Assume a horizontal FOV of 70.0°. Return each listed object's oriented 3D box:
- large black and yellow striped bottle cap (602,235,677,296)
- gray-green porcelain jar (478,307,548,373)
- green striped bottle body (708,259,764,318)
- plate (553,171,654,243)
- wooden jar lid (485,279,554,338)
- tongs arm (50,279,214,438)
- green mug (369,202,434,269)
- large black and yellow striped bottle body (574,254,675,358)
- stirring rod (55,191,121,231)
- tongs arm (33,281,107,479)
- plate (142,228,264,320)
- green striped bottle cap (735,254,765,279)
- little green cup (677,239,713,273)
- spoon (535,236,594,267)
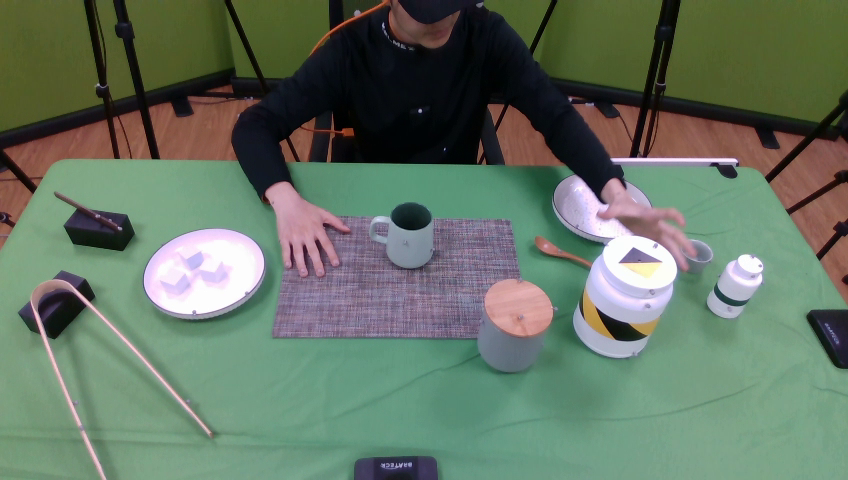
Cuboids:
[{"bbox_3d":[0.340,0.037,0.955,0.115,0.019,0.114,2,47,-1],"label":"large black and yellow striped bottle cap"},{"bbox_3d":[0.144,0.148,0.989,0.106,0.127,0.105,2,50,-2],"label":"gray-green porcelain jar"},{"bbox_3d":[0.563,0.081,1.089,0.063,0.120,0.063,2,46,-2],"label":"green striped bottle body"},{"bbox_3d":[0.374,-0.066,1.274,0.209,0.038,0.208,2,46,-2],"label":"plate"},{"bbox_3d":[0.147,0.108,0.940,0.108,0.021,0.107,4,48,-4],"label":"wooden jar lid"},{"bbox_3d":[-0.459,0.178,0.949,0.386,0.028,0.028,37,60,17],"label":"tongs arm"},{"bbox_3d":[-0.043,-0.010,1.140,0.125,0.105,0.092,8,47,4],"label":"green mug"},{"bbox_3d":[0.335,0.096,1.014,0.131,0.185,0.130,2,46,-2],"label":"large black and yellow striped bottle body"},{"bbox_3d":[-0.632,-0.055,1.138,0.175,0.014,0.006,24,50,19],"label":"stirring rod"},{"bbox_3d":[-0.517,0.214,0.910,0.051,0.026,0.383,-28,63,-27],"label":"tongs arm"},{"bbox_3d":[-0.395,0.064,1.095,0.208,0.039,0.206,2,46,-2],"label":"plate"},{"bbox_3d":[0.566,0.046,1.051,0.044,0.020,0.044,0,45,0],"label":"green striped bottle cap"},{"bbox_3d":[0.530,0.033,1.189,0.061,0.039,0.061,2,46,-2],"label":"little green cup"},{"bbox_3d":[0.303,0.040,1.178,0.193,0.022,0.041,25,31,19],"label":"spoon"}]
